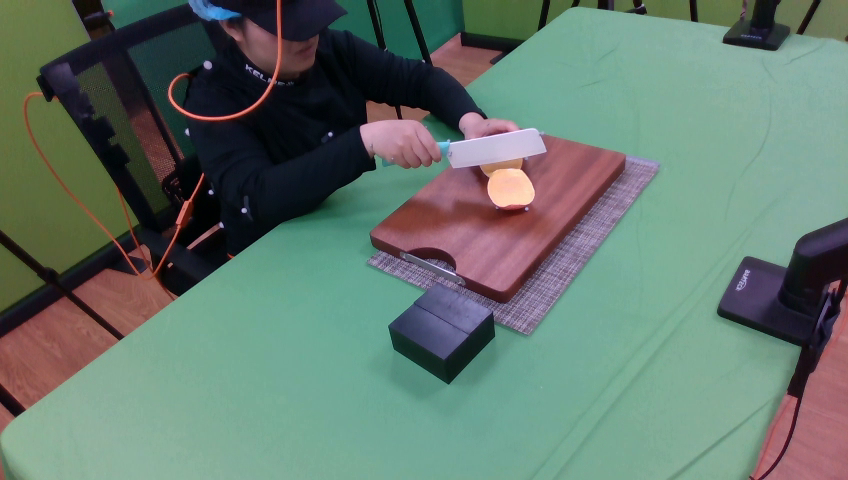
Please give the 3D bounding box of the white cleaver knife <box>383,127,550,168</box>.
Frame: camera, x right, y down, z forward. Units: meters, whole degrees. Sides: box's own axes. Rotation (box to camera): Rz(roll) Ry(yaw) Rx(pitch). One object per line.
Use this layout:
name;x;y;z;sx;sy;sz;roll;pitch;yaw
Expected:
white cleaver knife;0.062;-0.142;0.999;0.285;0.066;0.021;-4;48;23

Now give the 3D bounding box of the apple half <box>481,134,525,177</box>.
apple half;0.139;-0.151;1.055;0.080;0.075;0.053;1;37;18

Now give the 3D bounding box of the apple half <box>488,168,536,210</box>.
apple half;0.142;-0.080;0.995;0.081;0.033;0.081;1;62;-2
